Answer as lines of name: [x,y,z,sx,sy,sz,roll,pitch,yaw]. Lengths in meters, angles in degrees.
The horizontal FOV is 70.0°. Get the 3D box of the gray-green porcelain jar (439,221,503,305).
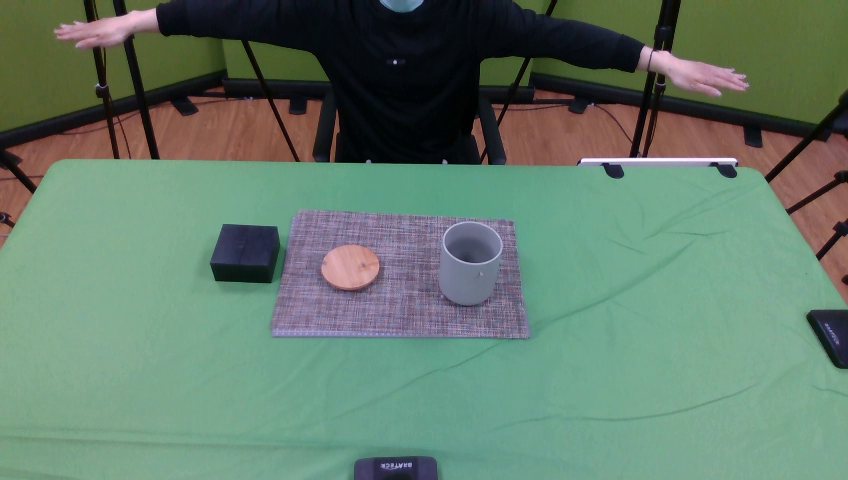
gray-green porcelain jar: [0.080,0.046,1.078,0.106,0.127,0.105,2,46,-2]

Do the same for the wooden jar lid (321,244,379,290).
wooden jar lid: [-0.137,0.054,1.131,0.108,0.021,0.107,1,45,-1]
